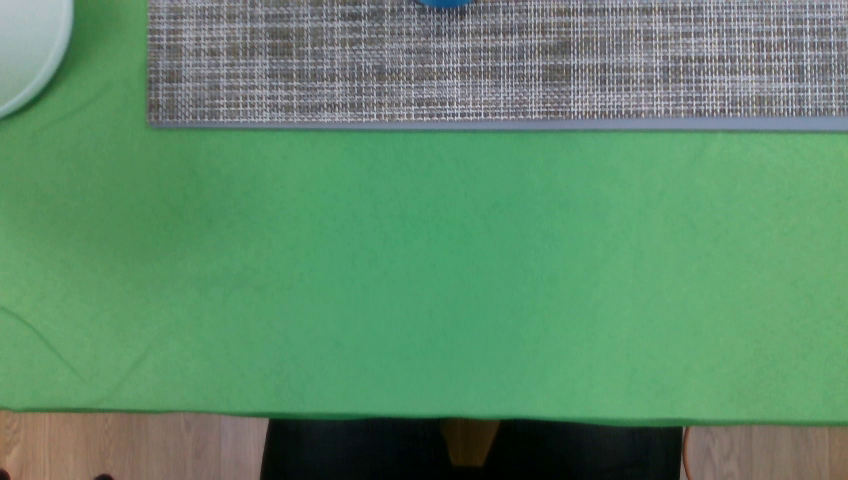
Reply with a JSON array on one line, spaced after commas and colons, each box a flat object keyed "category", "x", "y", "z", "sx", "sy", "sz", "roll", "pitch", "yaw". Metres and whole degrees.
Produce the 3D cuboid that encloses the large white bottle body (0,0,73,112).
[{"category": "large white bottle body", "x": -0.259, "y": -0.132, "z": 0.248, "sx": 0.130, "sy": 0.185, "sz": 0.130, "roll": 0, "pitch": 88, "yaw": 2}]
